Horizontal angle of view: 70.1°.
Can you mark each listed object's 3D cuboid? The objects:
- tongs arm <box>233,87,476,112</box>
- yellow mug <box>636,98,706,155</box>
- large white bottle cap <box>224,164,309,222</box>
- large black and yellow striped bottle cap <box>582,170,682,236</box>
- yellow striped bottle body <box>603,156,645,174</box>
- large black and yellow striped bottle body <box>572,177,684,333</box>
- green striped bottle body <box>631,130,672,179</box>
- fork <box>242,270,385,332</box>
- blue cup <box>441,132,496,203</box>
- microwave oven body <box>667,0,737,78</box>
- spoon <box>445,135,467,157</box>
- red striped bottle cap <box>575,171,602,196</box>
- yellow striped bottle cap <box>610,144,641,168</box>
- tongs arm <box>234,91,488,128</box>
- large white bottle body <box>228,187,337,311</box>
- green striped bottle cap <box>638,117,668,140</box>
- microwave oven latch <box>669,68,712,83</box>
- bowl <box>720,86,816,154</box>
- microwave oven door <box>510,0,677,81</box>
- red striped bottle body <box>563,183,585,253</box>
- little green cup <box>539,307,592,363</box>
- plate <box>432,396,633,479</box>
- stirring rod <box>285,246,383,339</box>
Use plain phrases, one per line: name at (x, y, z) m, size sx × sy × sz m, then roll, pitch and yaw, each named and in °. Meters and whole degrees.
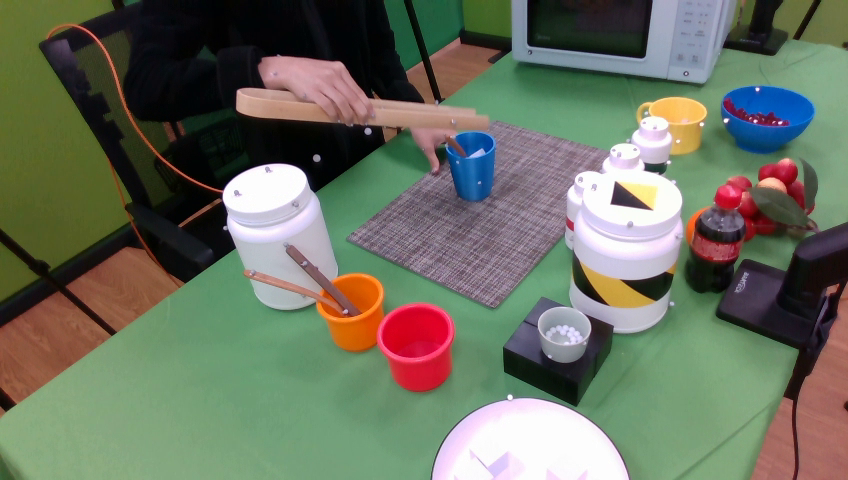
tongs arm at (-0.086, -0.199, 0.909) m, size 0.387 × 0.026 × 0.050 m, roll 0°, pitch 27°, yaw -23°
yellow mug at (0.453, -0.217, 1.128) m, size 0.100 × 0.064 × 0.129 m, roll -34°, pitch 46°, yaw -27°
large white bottle cap at (-0.216, -0.066, 0.829) m, size 0.115 × 0.018 × 0.114 m, roll -4°, pitch 40°, yaw 4°
large black and yellow striped bottle cap at (0.252, -0.048, 0.735) m, size 0.115 × 0.019 × 0.114 m, roll -3°, pitch 40°, yaw 3°
yellow striped bottle body at (0.313, -0.089, 0.956) m, size 0.063 × 0.121 × 0.062 m, roll -4°, pitch 39°, yaw 4°
large black and yellow striped bottle body at (0.262, 0.017, 0.788) m, size 0.131 × 0.185 × 0.130 m, roll -5°, pitch 40°, yaw 4°
green striped bottle body at (0.375, -0.140, 1.007) m, size 0.063 × 0.120 × 0.063 m, roll -5°, pitch 40°, yaw 5°
fork at (-0.142, 0.082, 0.802) m, size 0.209 × 0.018 × 0.028 m, roll 28°, pitch 39°, yaw -26°
blue cup at (0.084, -0.120, 1.040) m, size 0.092 × 0.100 × 0.092 m, roll -4°, pitch 40°, yaw 4°
microwave oven body at (0.462, -0.552, 1.369) m, size 0.439 × 0.261 × 0.326 m, roll 15°, pitch 46°, yaw 26°
spoon at (0.064, -0.133, 0.995) m, size 0.041 × 0.195 × 0.021 m, roll 17°, pitch 79°, yaw 22°
red striped bottle cap at (0.242, -0.081, 0.876) m, size 0.044 × 0.018 × 0.044 m, roll -5°, pitch 44°, yaw 5°
yellow striped bottle cap at (0.307, -0.128, 0.923) m, size 0.044 × 0.019 × 0.044 m, roll -6°, pitch 39°, yaw 5°
tongs arm at (-0.075, -0.188, 0.887) m, size 0.390 × 0.028 × 0.028 m, roll -2°, pitch 31°, yaw -25°
large white bottle body at (-0.207, -0.002, 0.883) m, size 0.130 × 0.185 × 0.130 m, roll -4°, pitch 40°, yaw 4°
green striped bottle cap at (0.369, -0.180, 0.974) m, size 0.044 × 0.020 × 0.044 m, roll -4°, pitch 41°, yaw 4°
microwave oven latch at (0.556, -0.348, 1.262) m, size 0.078 × 0.029 × 0.030 m, roll 15°, pitch 46°, yaw 26°
bowl at (0.605, -0.206, 1.081) m, size 0.151 × 0.077 × 0.150 m, roll -5°, pitch 40°, yaw 5°
microwave oven door at (0.354, -0.478, 1.290) m, size 0.353 × 0.245 × 0.039 m, roll 15°, pitch 45°, yaw 25°
red striped bottle body at (0.246, -0.041, 0.910) m, size 0.063 × 0.120 × 0.062 m, roll -2°, pitch 38°, yaw 2°
little green cup at (0.168, 0.115, 0.721) m, size 0.061 × 0.039 × 0.061 m, roll -4°, pitch 42°, yaw 4°
plate at (0.112, 0.261, 0.634) m, size 0.209 × 0.038 × 0.208 m, roll -5°, pitch 40°, yaw 4°
stirring rod at (-0.121, 0.071, 0.819) m, size 0.176 × 0.006 × 0.014 m, roll 44°, pitch 51°, yaw -7°
